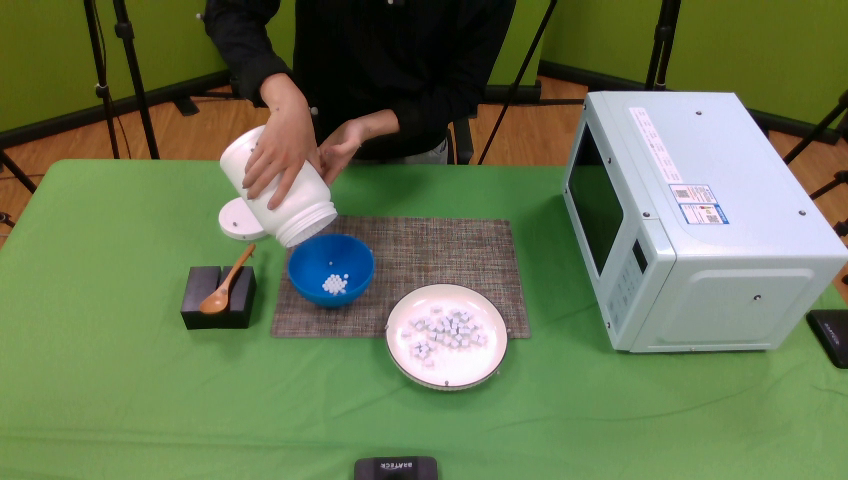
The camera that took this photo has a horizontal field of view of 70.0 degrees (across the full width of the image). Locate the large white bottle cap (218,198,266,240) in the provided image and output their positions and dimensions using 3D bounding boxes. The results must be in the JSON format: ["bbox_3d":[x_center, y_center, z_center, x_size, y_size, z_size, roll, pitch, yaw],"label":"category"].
[{"bbox_3d":[-0.355,-0.045,1.220,0.115,0.018,0.114,2,45,-2],"label":"large white bottle cap"}]

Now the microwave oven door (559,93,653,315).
[{"bbox_3d":[0.327,-0.074,1.123,0.039,0.245,0.353,-1,46,-5],"label":"microwave oven door"}]

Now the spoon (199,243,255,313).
[{"bbox_3d":[-0.334,0.062,1.052,0.041,0.022,0.193,9,40,7],"label":"spoon"}]

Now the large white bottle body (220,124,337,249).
[{"bbox_3d":[-0.245,-0.089,1.037,0.130,0.130,0.184,-33,87,-31],"label":"large white bottle body"}]

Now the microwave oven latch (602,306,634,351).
[{"bbox_3d":[0.332,0.153,1.044,0.030,0.029,0.078,0,45,-4],"label":"microwave oven latch"}]

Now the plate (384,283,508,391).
[{"bbox_3d":[0.036,0.165,1.029,0.209,0.038,0.208,2,49,-2],"label":"plate"}]

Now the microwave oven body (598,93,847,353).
[{"bbox_3d":[0.475,-0.041,1.109,0.326,0.261,0.438,-1,45,-4],"label":"microwave oven body"}]

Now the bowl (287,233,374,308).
[{"bbox_3d":[-0.164,0.068,1.078,0.151,0.077,0.150,3,46,-2],"label":"bowl"}]
